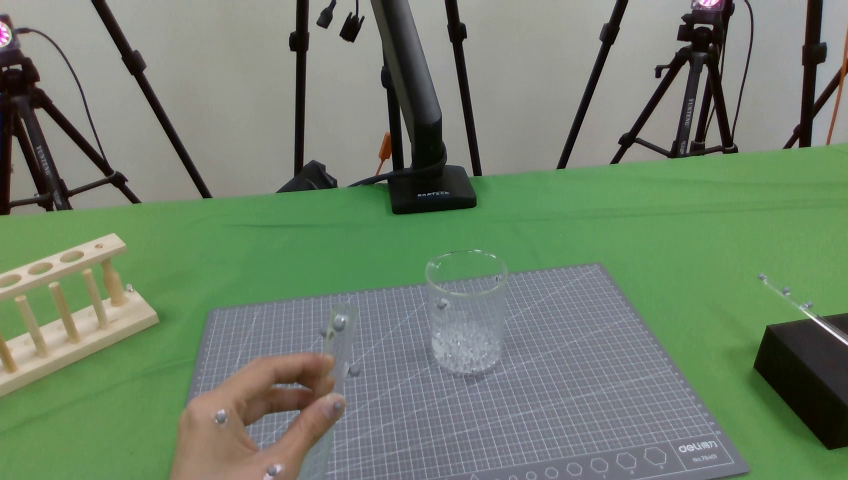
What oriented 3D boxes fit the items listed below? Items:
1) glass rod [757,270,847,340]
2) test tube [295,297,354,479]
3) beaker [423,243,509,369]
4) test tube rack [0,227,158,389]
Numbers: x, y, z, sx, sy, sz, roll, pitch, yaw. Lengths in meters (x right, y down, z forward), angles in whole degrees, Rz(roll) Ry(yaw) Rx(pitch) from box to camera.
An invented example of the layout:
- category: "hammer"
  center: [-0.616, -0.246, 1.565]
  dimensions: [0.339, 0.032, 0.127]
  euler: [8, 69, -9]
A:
- category: "glass rod"
  center: [0.362, 0.080, 0.519]
  dimensions: [0.008, 0.008, 0.197]
  euler: [-11, 33, -14]
- category: "test tube"
  center: [-0.061, 0.103, 0.357]
  dimensions: [0.017, 0.151, 0.017]
  euler: [12, 19, -4]
- category: "beaker"
  center: [0.035, 0.063, 0.566]
  dimensions: [0.083, 0.101, 0.074]
  euler: [24, 41, 36]
- category: "test tube rack"
  center: [-0.396, 0.080, 0.577]
  dimensions: [0.242, 0.086, 0.066]
  euler: [-28, 41, -35]
